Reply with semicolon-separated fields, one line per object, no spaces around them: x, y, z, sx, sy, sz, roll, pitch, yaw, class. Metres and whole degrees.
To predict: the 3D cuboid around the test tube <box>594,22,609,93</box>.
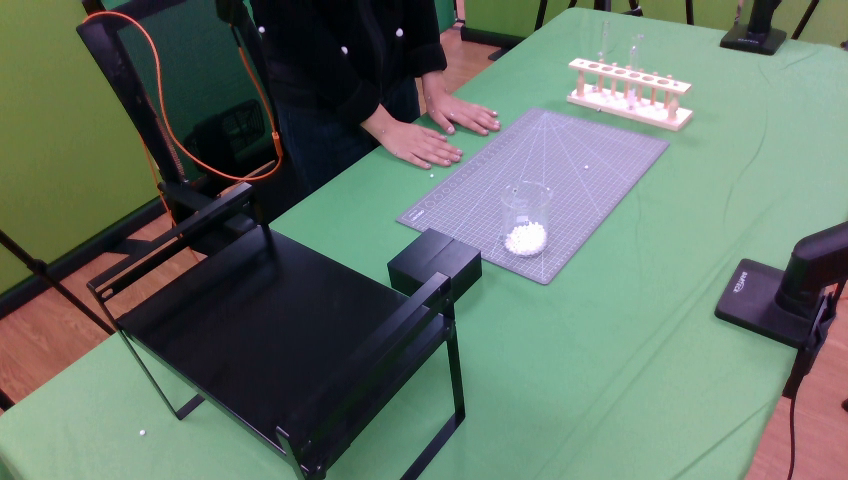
0.363;-0.371;1.238;0.017;0.151;0.017;-4;40;3;test tube

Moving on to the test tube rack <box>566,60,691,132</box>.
0.411;-0.299;1.217;0.240;0.085;0.067;26;51;33;test tube rack

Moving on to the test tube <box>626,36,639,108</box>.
0.402;-0.321;1.167;0.017;0.151;0.017;-7;44;7;test tube

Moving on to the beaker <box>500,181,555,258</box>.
0.158;-0.030;0.923;0.084;0.100;0.073;-13;41;-8;beaker
